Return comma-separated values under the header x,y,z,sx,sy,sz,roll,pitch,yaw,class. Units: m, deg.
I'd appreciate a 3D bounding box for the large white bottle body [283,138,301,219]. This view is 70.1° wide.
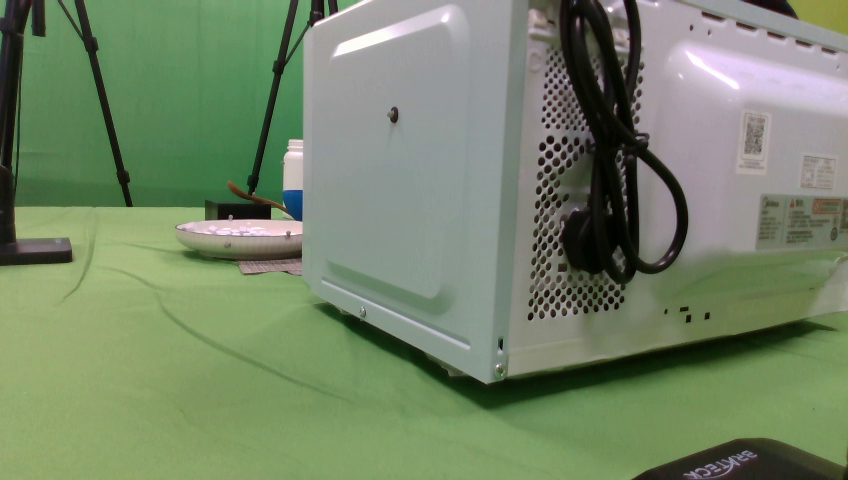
x,y,z,sx,sy,sz,roll,pitch,yaw,class
-0.264,-0.143,1.423,0.131,0.184,0.130,2,7,0,large white bottle body

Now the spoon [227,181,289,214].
x,y,z,sx,sy,sz,roll,pitch,yaw,class
-0.315,-0.074,1.235,0.195,0.021,0.041,24,-11,-37,spoon

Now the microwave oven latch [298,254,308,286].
x,y,z,sx,sy,sz,roll,pitch,yaw,class
-0.081,0.028,0.582,0.079,0.029,0.030,-2,7,-33,microwave oven latch

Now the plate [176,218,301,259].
x,y,z,sx,sy,sz,roll,pitch,yaw,class
-0.248,-0.003,0.877,0.209,0.038,0.209,1,8,0,plate

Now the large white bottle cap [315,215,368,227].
x,y,z,sx,sy,sz,roll,pitch,yaw,class
-0.177,-0.041,1.309,0.115,0.018,0.115,2,6,0,large white bottle cap

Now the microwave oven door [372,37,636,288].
x,y,z,sx,sy,sz,roll,pitch,yaw,class
0.110,-0.080,0.686,0.358,0.243,0.039,-2,8,-33,microwave oven door

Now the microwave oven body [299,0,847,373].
x,y,z,sx,sy,sz,roll,pitch,yaw,class
0.152,-0.055,0.542,0.444,0.260,0.324,-2,7,-33,microwave oven body

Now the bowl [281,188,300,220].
x,y,z,sx,sy,sz,roll,pitch,yaw,class
-0.190,-0.053,1.129,0.151,0.077,0.151,3,8,0,bowl
